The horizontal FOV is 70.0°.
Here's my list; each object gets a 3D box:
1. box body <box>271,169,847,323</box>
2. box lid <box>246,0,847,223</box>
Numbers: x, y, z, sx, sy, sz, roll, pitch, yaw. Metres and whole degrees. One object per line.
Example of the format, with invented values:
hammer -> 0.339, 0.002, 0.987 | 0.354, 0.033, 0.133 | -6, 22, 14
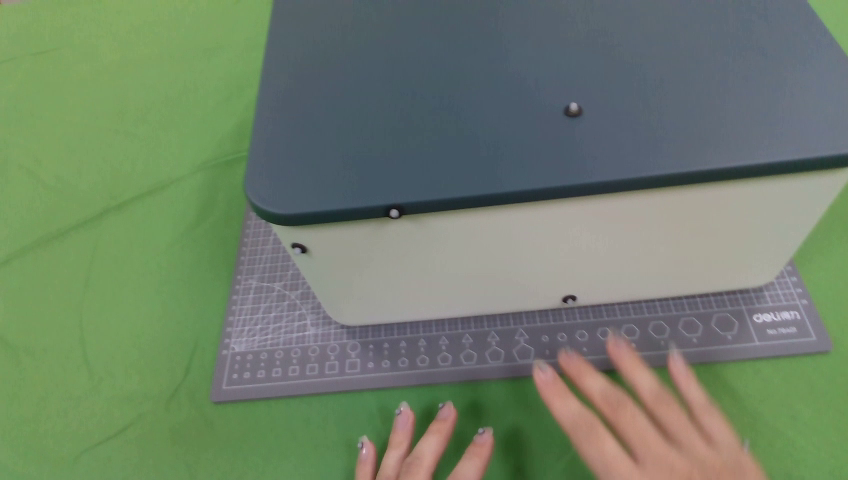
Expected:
box body -> 0.083, -0.086, 0.467 | 0.364, 0.162, 0.251 | -6, 53, 4
box lid -> 0.072, -0.130, 0.408 | 0.371, 0.015, 0.260 | -5, 54, 3
